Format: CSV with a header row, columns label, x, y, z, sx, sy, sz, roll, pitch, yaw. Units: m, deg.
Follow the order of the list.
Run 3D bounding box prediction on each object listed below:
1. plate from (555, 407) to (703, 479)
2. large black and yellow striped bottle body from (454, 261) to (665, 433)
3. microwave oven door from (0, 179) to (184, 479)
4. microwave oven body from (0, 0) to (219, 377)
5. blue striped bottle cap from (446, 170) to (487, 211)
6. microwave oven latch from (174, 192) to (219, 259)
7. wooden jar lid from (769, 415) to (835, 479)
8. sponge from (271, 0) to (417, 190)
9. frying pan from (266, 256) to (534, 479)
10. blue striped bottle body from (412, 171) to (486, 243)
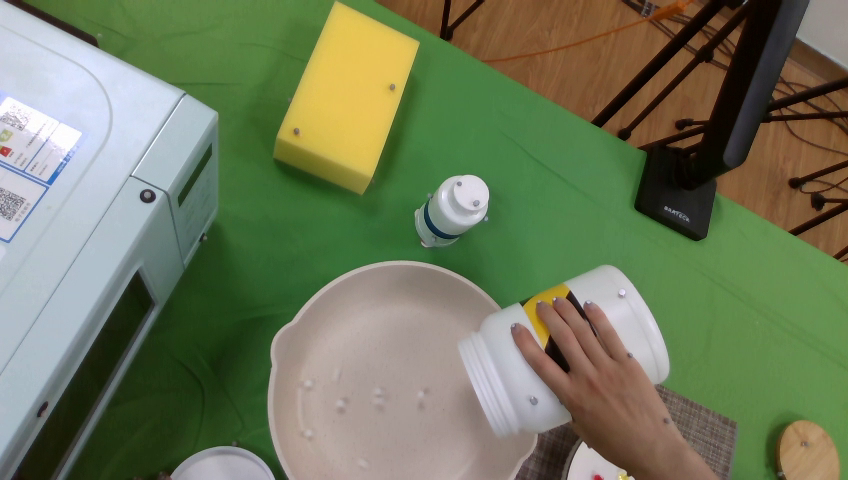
label,x,y,z,sx,sy,sz,roll,pitch,yaw
plate,0.249,0.313,0.744,0.210,0.038,0.208,5,73,-17
large black and yellow striped bottle body,0.135,0.114,0.628,0.184,0.131,0.130,-24,82,2
microwave oven door,-0.298,0.139,0.475,0.039,0.244,0.354,26,68,-10
microwave oven body,-0.413,0.040,0.469,0.327,0.260,0.439,27,69,-11
blue striped bottle cap,0.048,-0.056,0.681,0.045,0.020,0.044,5,75,-17
microwave oven latch,-0.249,-0.021,0.648,0.030,0.029,0.079,29,68,-10
wooden jar lid,0.534,0.305,0.860,0.109,0.021,0.108,5,75,-17
sponge,-0.097,-0.182,0.755,0.119,0.061,0.205,21,69,-12
frying pan,-0.056,0.250,0.620,0.308,0.103,0.484,25,60,-8
blue striped bottle body,0.032,-0.041,0.727,0.063,0.121,0.062,5,73,-17
